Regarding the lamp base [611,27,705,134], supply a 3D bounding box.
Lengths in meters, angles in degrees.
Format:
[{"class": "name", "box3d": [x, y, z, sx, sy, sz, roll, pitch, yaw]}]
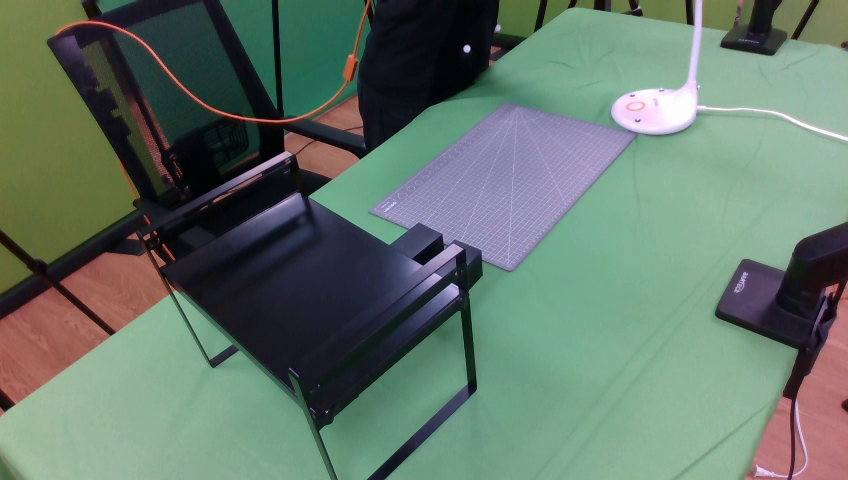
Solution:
[{"class": "lamp base", "box3d": [0.459, -0.316, 1.154, 0.179, 0.181, 0.159, -5, 41, -1]}]
